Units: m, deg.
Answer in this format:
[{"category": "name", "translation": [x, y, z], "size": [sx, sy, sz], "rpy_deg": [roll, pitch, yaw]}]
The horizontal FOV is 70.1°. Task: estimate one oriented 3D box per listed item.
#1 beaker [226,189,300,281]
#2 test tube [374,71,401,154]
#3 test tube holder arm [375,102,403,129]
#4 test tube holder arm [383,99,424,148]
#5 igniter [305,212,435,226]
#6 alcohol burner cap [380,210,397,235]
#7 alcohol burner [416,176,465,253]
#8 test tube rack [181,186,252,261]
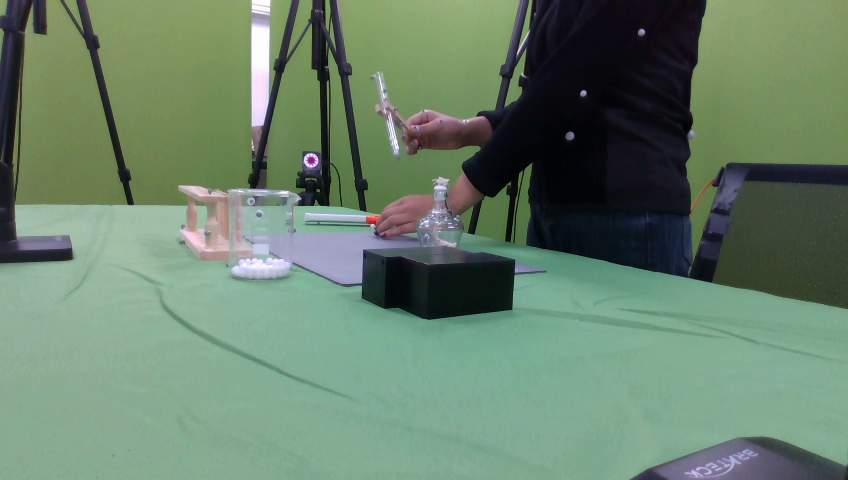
[{"category": "beaker", "translation": [-0.184, -0.007, 0.694], "size": [0.084, 0.100, 0.073], "rpy_deg": [-1, 8, -29]}, {"category": "test tube", "translation": [-0.060, -0.212, 1.000], "size": [0.017, 0.150, 0.017], "rpy_deg": [-13, -14, -3]}, {"category": "test tube holder arm", "translation": [-0.055, -0.209, 1.024], "size": [0.010, 0.015, 0.088], "rpy_deg": [-22, -21, 23]}, {"category": "test tube holder arm", "translation": [-0.032, -0.201, 1.062], "size": [0.013, 0.015, 0.179], "rpy_deg": [-19, -19, 16]}, {"category": "igniter", "translation": [-0.114, -0.046, 1.296], "size": [0.277, 0.025, 0.057], "rpy_deg": [1, -2, -11]}, {"category": "alcohol burner cap", "translation": [-0.064, -0.033, 1.133], "size": [0.034, 0.048, 0.034], "rpy_deg": [5, 10, -1]}, {"category": "alcohol burner", "translation": [0.025, -0.040, 0.935], "size": [0.078, 0.119, 0.078], "rpy_deg": [0, 6, 0]}, {"category": "test tube rack", "translation": [-0.312, -0.031, 0.893], "size": [0.067, 0.085, 0.241], "rpy_deg": [-1, 8, -27]}]
